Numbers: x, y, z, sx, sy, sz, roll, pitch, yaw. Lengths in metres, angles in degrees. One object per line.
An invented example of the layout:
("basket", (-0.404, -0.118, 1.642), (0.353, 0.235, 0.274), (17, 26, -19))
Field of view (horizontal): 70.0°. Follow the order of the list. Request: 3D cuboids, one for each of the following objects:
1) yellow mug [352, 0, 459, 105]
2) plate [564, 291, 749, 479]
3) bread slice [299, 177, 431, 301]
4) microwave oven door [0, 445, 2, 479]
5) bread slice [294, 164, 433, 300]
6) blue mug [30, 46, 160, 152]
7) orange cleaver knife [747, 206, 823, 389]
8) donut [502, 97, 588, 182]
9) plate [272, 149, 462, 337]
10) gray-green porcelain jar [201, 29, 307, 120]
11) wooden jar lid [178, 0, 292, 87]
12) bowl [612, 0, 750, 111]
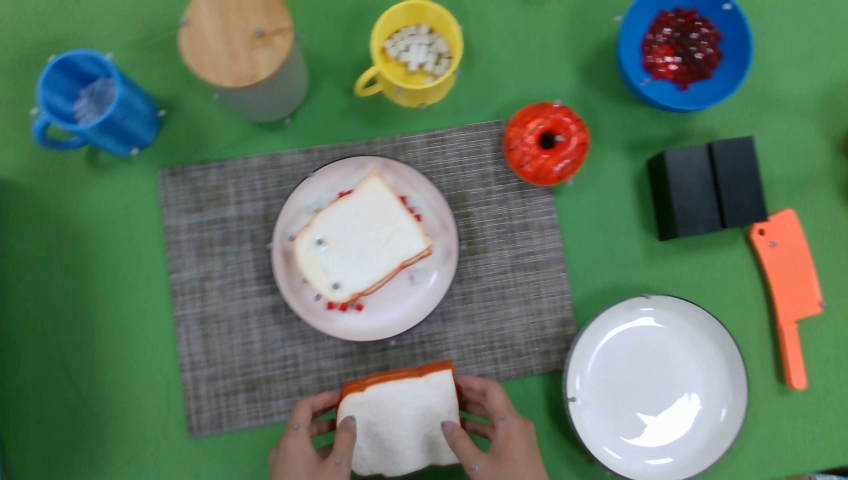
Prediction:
("yellow mug", (-0.025, -0.205, 0.690), (0.131, 0.064, 0.100), (-33, 87, -4))
("plate", (0.258, 0.162, 0.686), (0.209, 0.038, 0.208), (0, 85, -2))
("bread slice", (-0.072, 0.006, 0.683), (0.131, 0.019, 0.105), (-36, 89, -6))
("microwave oven door", (-0.469, 0.157, 0.532), (0.039, 0.244, 0.355), (-6, 85, -3))
("bread slice", (-0.071, 0.000, 0.655), (0.134, 0.018, 0.107), (-40, 85, -6))
("blue mug", (-0.358, -0.138, 0.648), (0.116, 0.106, 0.082), (-34, 87, -5))
("orange cleaver knife", (0.433, 0.065, 0.712), (0.077, 0.012, 0.210), (-8, 84, -10))
("donut", (0.138, -0.115, 0.697), (0.099, 0.048, 0.099), (0, 86, -3))
("plate", (-0.062, 0.003, 0.681), (0.208, 0.039, 0.207), (0, 85, -2))
("gray-green porcelain jar", (-0.184, -0.193, 0.651), (0.106, 0.126, 0.105), (0, 85, -2))
("wooden jar lid", (-0.182, -0.199, 0.589), (0.108, 0.021, 0.108), (0, 83, -2))
("bowl", (0.282, -0.213, 0.698), (0.151, 0.077, 0.151), (0, 86, -2))
